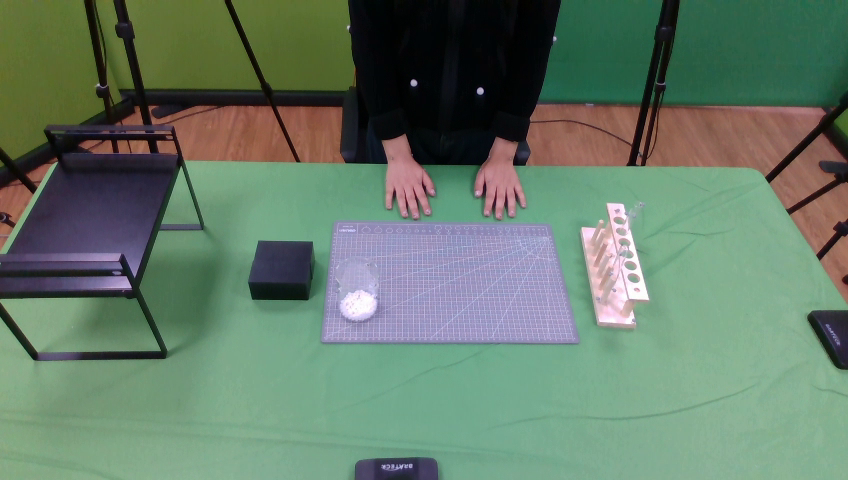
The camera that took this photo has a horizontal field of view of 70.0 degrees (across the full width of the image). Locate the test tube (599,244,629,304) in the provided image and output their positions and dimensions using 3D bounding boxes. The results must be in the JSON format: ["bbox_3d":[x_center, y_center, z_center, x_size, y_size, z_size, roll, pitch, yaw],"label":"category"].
[{"bbox_3d":[0.331,0.061,1.059,0.017,0.151,0.017,2,46,-1],"label":"test tube"}]

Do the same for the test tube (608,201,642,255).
[{"bbox_3d":[0.373,-0.019,1.134,0.017,0.151,0.017,3,52,-4],"label":"test tube"}]

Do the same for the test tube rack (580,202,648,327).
[{"bbox_3d":[0.352,0.040,1.143,0.067,0.085,0.241,4,46,0],"label":"test tube rack"}]

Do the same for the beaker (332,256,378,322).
[{"bbox_3d":[-0.114,0.089,1.047,0.083,0.101,0.074,30,52,21],"label":"beaker"}]
